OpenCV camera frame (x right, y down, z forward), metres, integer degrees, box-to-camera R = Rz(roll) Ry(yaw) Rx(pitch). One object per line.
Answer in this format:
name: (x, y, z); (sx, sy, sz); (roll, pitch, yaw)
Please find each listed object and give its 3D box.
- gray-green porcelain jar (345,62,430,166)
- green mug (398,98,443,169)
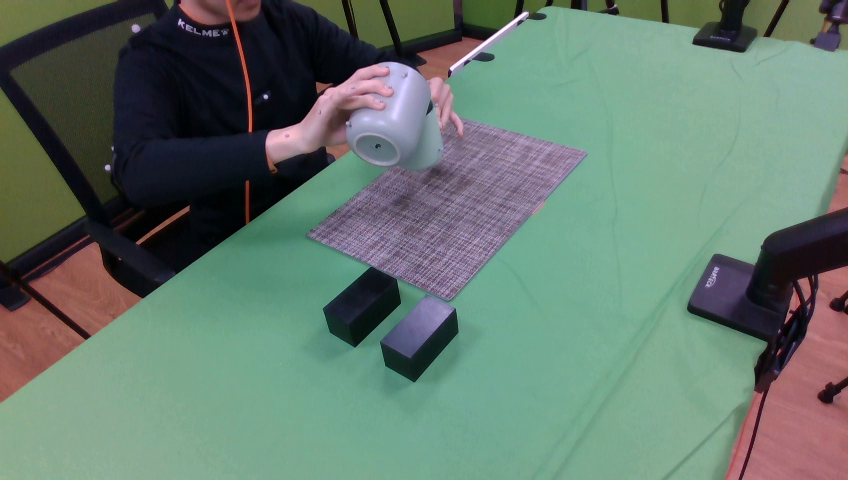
gray-green porcelain jar: (-0.055, -0.182, 0.897); (0.105, 0.106, 0.126); (6, 59, 15)
green mug: (-0.013, -0.194, 1.035); (0.092, 0.105, 0.125); (5, 48, 13)
